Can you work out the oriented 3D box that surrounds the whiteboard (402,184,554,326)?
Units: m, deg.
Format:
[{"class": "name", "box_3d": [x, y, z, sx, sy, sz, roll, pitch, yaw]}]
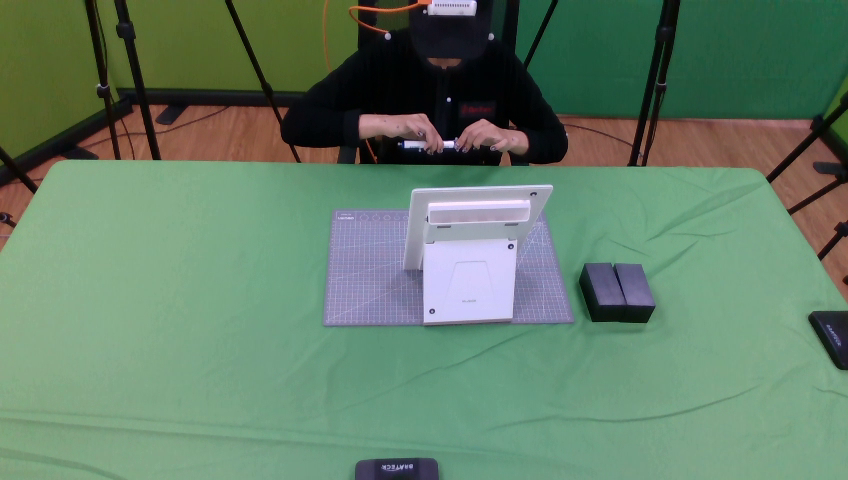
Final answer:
[{"class": "whiteboard", "box_3d": [0.081, 0.044, 1.005, 0.217, 0.306, 0.143, -1, 66, -6]}]

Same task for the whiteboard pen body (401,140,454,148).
[{"class": "whiteboard pen body", "box_3d": [0.019, -0.208, 1.307, 0.141, 0.017, 0.017, -2, 46, -10]}]

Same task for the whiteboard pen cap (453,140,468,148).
[{"class": "whiteboard pen cap", "box_3d": [0.078, -0.210, 1.318, 0.033, 0.018, 0.018, -2, 46, -10]}]
